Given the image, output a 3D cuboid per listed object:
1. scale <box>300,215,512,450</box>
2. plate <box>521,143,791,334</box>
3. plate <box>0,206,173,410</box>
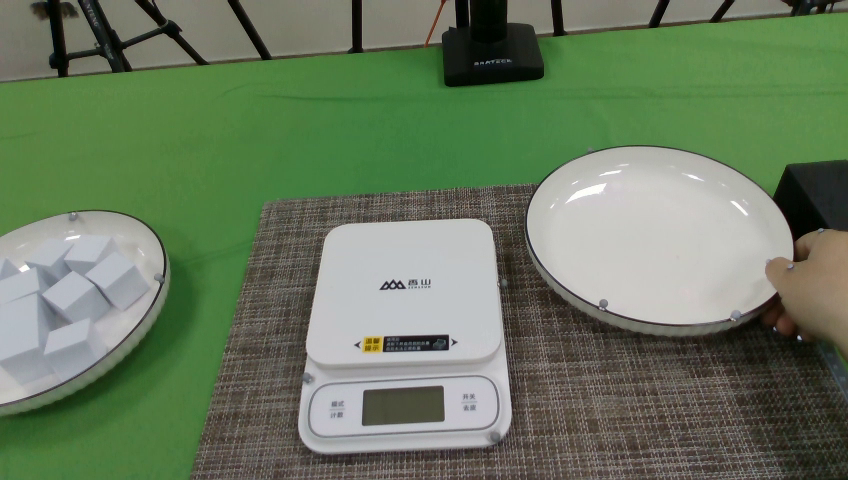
[{"bbox_3d":[-0.013,0.061,0.469,0.148,0.032,0.199,-3,47,4],"label":"scale"},{"bbox_3d":[0.185,-0.003,0.505,0.207,0.039,0.205,-3,46,3],"label":"plate"},{"bbox_3d":[-0.314,0.054,0.510,0.209,0.038,0.207,-3,46,3],"label":"plate"}]
